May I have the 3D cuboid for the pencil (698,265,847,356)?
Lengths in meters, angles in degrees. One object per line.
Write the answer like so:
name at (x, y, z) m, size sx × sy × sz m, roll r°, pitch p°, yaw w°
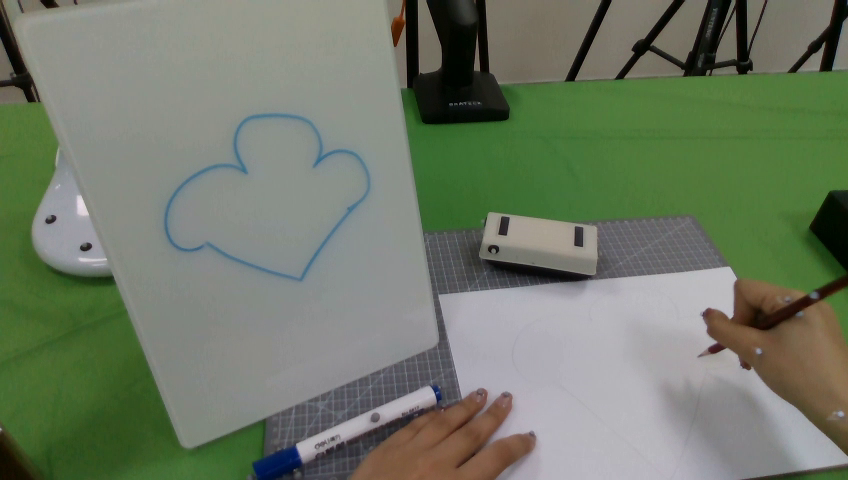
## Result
pencil at (0.250, 0.050, 0.427) m, size 0.012 × 0.195 × 0.012 m, roll 6°, pitch 60°, yaw -10°

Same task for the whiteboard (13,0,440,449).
whiteboard at (-0.131, -0.038, 0.477) m, size 0.218 × 0.307 × 0.142 m, roll -19°, pitch 27°, yaw -21°

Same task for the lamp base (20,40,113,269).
lamp base at (-0.320, -0.090, 0.574) m, size 0.178 × 0.182 × 0.160 m, roll 24°, pitch 46°, yaw 25°

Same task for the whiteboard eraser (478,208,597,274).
whiteboard eraser at (0.112, 0.002, 0.596) m, size 0.112 × 0.042 × 0.055 m, roll 9°, pitch 43°, yaw 7°

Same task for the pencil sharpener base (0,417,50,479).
pencil sharpener base at (-0.287, 0.147, 0.369) m, size 0.061 × 0.108 × 0.076 m, roll 31°, pitch 50°, yaw 28°

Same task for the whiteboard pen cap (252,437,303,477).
whiteboard pen cap at (-0.104, 0.153, 0.430) m, size 0.033 × 0.018 × 0.018 m, roll -20°, pitch 46°, yaw -21°

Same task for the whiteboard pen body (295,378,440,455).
whiteboard pen body at (-0.052, 0.135, 0.452) m, size 0.141 × 0.017 × 0.017 m, roll -19°, pitch 46°, yaw -20°
